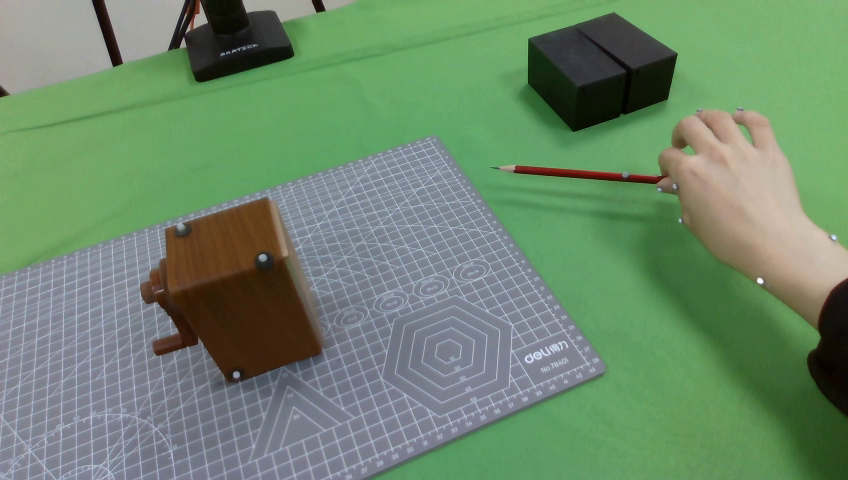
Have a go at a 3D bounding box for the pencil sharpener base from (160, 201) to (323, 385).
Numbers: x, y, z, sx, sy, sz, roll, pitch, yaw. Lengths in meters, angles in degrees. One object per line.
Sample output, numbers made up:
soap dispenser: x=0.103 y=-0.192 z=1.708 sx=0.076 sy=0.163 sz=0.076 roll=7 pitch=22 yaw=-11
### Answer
pencil sharpener base: x=-0.119 y=0.039 z=0.406 sx=0.077 sy=0.108 sz=0.060 roll=-18 pitch=47 yaw=-9

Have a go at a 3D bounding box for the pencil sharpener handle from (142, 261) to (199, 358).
pencil sharpener handle: x=-0.168 y=0.047 z=0.387 sx=0.031 sy=0.068 sz=0.035 roll=-18 pitch=36 yaw=-9

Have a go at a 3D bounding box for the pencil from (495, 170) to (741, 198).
pencil: x=0.153 y=-0.048 z=0.497 sx=0.193 sy=0.012 sz=0.012 roll=6 pitch=47 yaw=15
